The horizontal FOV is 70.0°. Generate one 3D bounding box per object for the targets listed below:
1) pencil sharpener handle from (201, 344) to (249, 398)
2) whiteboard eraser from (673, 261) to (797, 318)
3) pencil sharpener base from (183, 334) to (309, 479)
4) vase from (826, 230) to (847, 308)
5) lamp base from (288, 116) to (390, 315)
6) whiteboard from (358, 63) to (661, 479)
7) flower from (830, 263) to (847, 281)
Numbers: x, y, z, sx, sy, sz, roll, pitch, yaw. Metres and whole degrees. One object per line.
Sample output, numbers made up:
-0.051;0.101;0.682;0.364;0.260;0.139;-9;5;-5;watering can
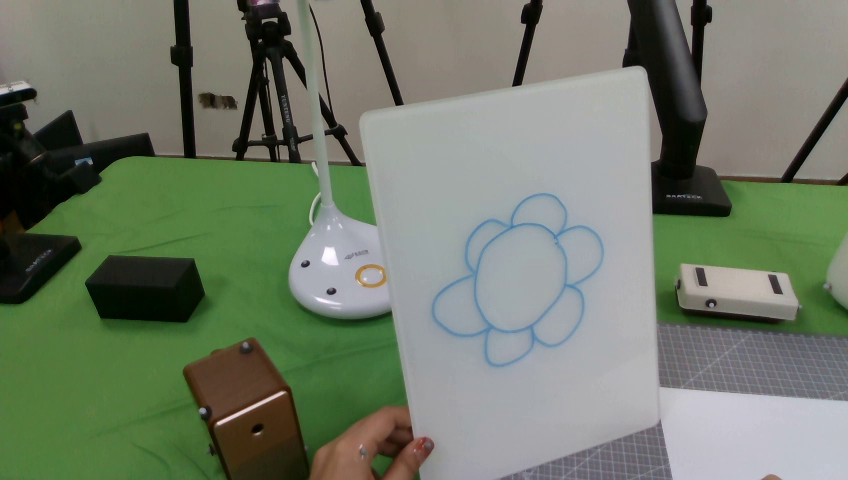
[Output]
-0.168;0.106;0.512;0.036;0.068;0.030;-30;43;-21;pencil sharpener handle
0.325;0.054;0.640;0.112;0.042;0.055;5;34;10;whiteboard eraser
-0.141;0.140;0.483;0.061;0.108;0.076;-23;40;-26;pencil sharpener base
0.478;-0.015;0.593;0.098;0.201;0.097;-1;35;1;vase
-0.088;-0.036;0.669;0.161;0.182;0.177;-26;39;-30;lamp base
0.063;0.023;0.518;0.218;0.307;0.143;-13;17;-13;whiteboard
0.483;-0.073;0.533;0.044;0.364;0.038;-10;53;-21;flower
